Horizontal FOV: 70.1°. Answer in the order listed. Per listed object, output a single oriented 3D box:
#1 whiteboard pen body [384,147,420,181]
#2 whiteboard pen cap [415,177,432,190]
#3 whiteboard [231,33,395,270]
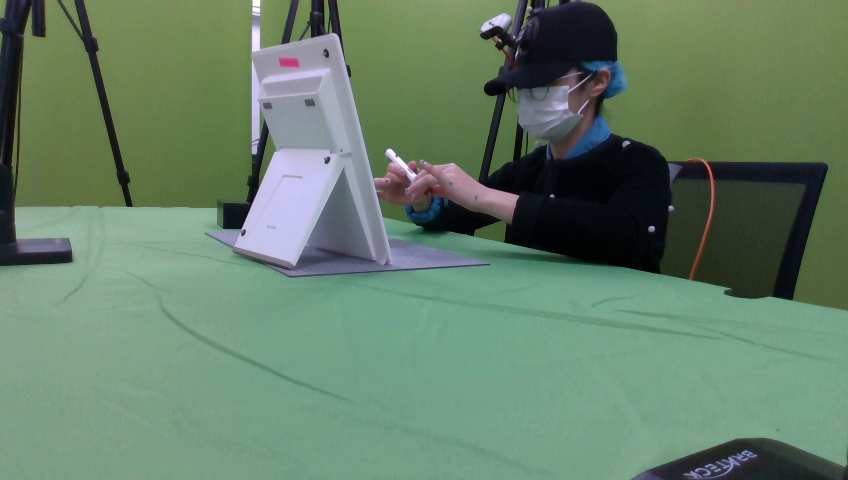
[{"bbox_3d":[-0.035,-0.130,1.073,0.017,0.017,0.140,-3,34,-34],"label":"whiteboard pen body"},{"bbox_3d":[-0.002,-0.096,1.023,0.017,0.017,0.032,-2,21,-29],"label":"whiteboard pen cap"},{"bbox_3d":[-0.193,-0.094,0.805,0.144,0.305,0.216,-28,25,-35],"label":"whiteboard"}]
